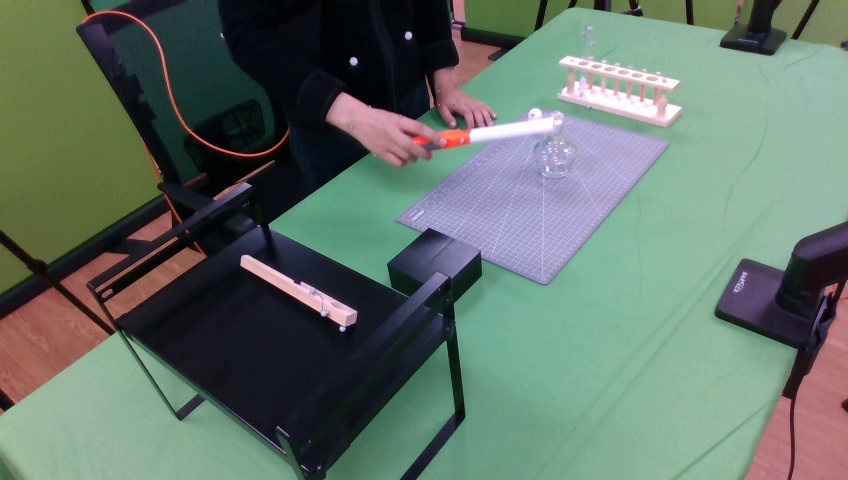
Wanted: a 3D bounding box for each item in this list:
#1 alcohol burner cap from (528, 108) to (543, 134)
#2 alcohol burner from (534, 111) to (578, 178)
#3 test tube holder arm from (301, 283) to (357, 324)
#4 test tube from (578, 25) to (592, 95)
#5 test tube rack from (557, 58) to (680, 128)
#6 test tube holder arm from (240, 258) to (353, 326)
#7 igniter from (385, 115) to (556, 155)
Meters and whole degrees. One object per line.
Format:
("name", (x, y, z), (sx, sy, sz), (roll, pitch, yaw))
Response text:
("alcohol burner cap", (0.222, -0.238, 1.203), (0.034, 0.048, 0.033), (-5, 41, 5))
("alcohol burner", (0.232, -0.170, 1.066), (0.078, 0.119, 0.077), (-5, 39, 5))
("test tube holder arm", (-0.105, 0.066, 0.638), (0.087, 0.015, 0.010), (22, 14, 33))
("test tube", (0.326, -0.362, 1.227), (0.017, 0.151, 0.017), (-3, 44, 4))
("test tube rack", (0.395, -0.309, 1.230), (0.240, 0.085, 0.067), (25, 50, 33))
("test tube holder arm", (-0.143, 0.053, 0.658), (0.177, 0.015, 0.013), (21, 14, 33))
("igniter", (0.065, -0.163, 0.943), (0.275, 0.025, 0.057), (-5, 26, 18))
